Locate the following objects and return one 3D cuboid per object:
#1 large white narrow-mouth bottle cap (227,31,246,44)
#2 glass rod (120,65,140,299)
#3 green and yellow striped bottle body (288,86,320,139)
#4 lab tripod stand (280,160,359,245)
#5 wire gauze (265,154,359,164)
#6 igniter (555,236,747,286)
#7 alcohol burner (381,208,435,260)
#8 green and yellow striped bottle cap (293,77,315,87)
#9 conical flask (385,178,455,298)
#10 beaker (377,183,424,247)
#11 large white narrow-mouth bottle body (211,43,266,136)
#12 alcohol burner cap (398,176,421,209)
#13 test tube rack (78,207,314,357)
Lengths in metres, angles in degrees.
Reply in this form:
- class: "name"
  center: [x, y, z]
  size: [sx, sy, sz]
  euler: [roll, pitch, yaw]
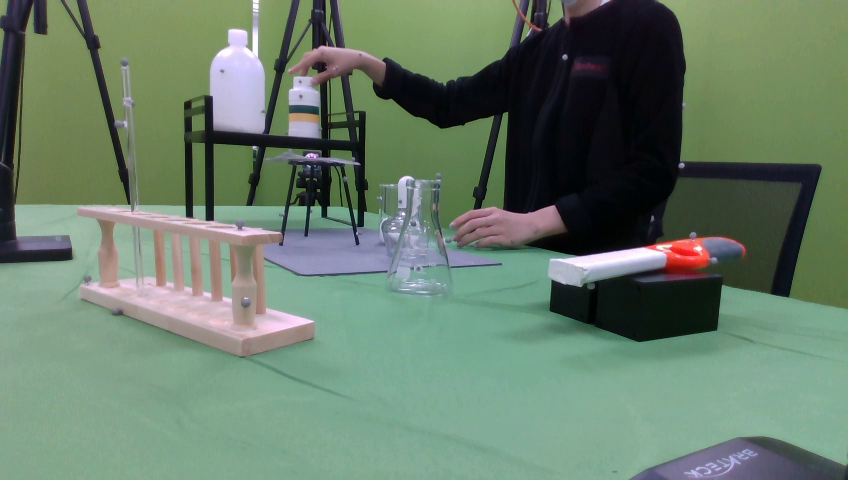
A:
- class: "large white narrow-mouth bottle cap"
  center: [-0.361, -0.388, 1.166]
  size: [0.038, 0.024, 0.037]
  euler: [1, 7, 0]
- class: "glass rod"
  center: [-0.249, -0.047, 0.513]
  size: [0.008, 0.199, 0.008]
  euler: [-1, 4, 0]
- class: "green and yellow striped bottle body"
  center: [-0.250, -0.272, 1.260]
  size: [0.063, 0.119, 0.063]
  euler: [2, 8, 0]
- class: "lab tripod stand"
  center: [-0.176, -0.062, 0.973]
  size: [0.148, 0.131, 0.148]
  euler: [1, 7, 0]
- class: "wire gauze"
  center: [-0.181, -0.129, 0.969]
  size: [0.126, 0.011, 0.121]
  euler: [-1, 7, -27]
- class: "igniter"
  center: [0.221, 0.017, 0.558]
  size: [0.278, 0.025, 0.057]
  euler: [-5, 15, -39]
- class: "alcohol burner"
  center: [-0.023, -0.032, 0.872]
  size: [0.078, 0.119, 0.078]
  euler: [0, 6, 0]
- class: "green and yellow striped bottle cap"
  center: [-0.248, -0.326, 1.251]
  size: [0.045, 0.020, 0.045]
  euler: [1, 11, 0]
- class: "conical flask"
  center: [-0.002, -0.004, 0.639]
  size: [0.075, 0.122, 0.075]
  euler: [2, 7, 0]
- class: "beaker"
  center: [-0.037, -0.041, 0.995]
  size: [0.074, 0.100, 0.083]
  euler: [-5, 11, -44]
- class: "large white narrow-mouth bottle body"
  center: [-0.361, -0.302, 1.176]
  size: [0.102, 0.194, 0.102]
  euler: [1, 7, 0]
- class: "alcohol burner cap"
  center: [-0.023, -0.068, 0.866]
  size: [0.034, 0.048, 0.034]
  euler: [-5, 8, 1]
- class: "test tube rack"
  center: [-0.196, 0.023, 0.500]
  size: [0.241, 0.085, 0.067]
  euler: [8, 9, 37]
